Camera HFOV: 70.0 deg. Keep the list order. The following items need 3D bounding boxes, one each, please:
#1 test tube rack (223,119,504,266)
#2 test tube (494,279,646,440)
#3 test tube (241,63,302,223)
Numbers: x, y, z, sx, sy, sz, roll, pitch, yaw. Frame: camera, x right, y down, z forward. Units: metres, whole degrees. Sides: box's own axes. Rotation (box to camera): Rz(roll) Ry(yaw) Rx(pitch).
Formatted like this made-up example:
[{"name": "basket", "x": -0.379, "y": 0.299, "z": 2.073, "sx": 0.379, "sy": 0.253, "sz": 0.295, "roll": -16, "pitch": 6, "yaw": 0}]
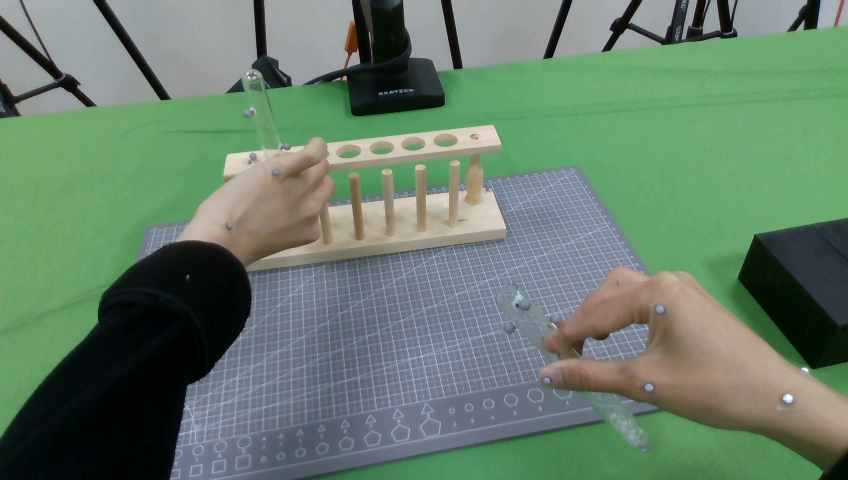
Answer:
[{"name": "test tube rack", "x": -0.050, "y": -0.044, "z": 0.554, "sx": 0.242, "sy": 0.086, "sz": 0.066, "roll": -7, "pitch": 42, "yaw": -5}, {"name": "test tube", "x": 0.089, "y": 0.074, "z": 0.352, "sx": 0.017, "sy": 0.151, "sz": 0.017, "roll": -33, "pitch": 28, "yaw": 20}, {"name": "test tube", "x": -0.121, "y": -0.072, "z": 0.488, "sx": 0.017, "sy": 0.152, "sz": 0.017, "roll": -2, "pitch": 44, "yaw": 3}]
